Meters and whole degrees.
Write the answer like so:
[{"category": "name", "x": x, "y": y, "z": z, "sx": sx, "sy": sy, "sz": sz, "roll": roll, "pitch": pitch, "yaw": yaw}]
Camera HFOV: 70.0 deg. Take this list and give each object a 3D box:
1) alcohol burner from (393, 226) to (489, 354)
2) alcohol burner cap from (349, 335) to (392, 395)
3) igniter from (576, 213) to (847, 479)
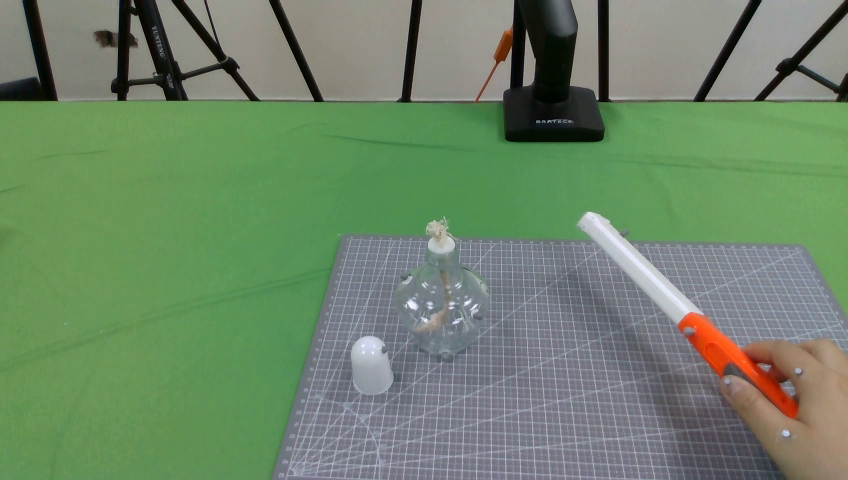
[{"category": "alcohol burner", "x": 0.013, "y": 0.034, "z": 0.476, "sx": 0.078, "sy": 0.120, "sz": 0.077, "roll": 0, "pitch": 42, "yaw": 0}, {"category": "alcohol burner cap", "x": -0.042, "y": 0.093, "z": 0.466, "sx": 0.034, "sy": 0.048, "sz": 0.033, "roll": -1, "pitch": 41, "yaw": 1}, {"category": "igniter", "x": 0.205, "y": 0.068, "z": 0.449, "sx": 0.058, "sy": 0.025, "sz": 0.273, "roll": 14, "pitch": 30, "yaw": -40}]
